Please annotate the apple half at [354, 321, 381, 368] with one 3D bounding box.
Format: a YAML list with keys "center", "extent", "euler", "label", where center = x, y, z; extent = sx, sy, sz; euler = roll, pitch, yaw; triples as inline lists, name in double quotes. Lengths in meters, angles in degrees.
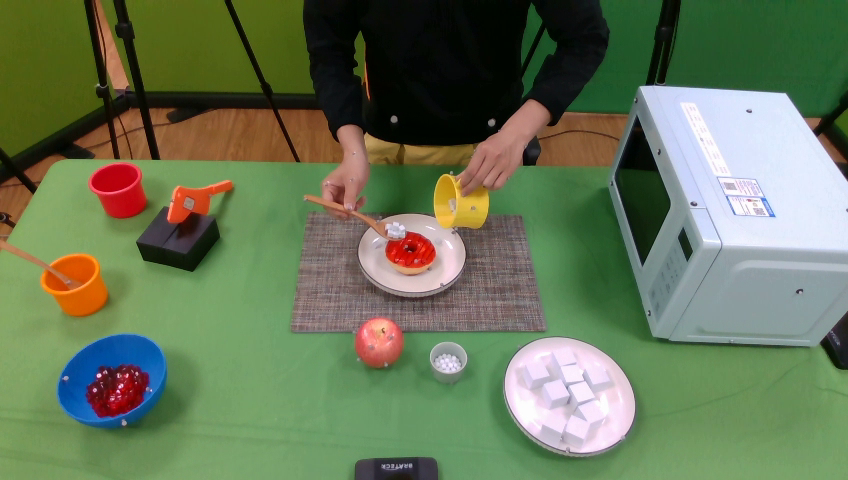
- center: [-0.097, 0.176, 0.985]
  extent: [0.033, 0.081, 0.080]
  euler: [-12, 48, -20]
  label: "apple half"

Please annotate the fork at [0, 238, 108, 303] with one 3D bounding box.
- center: [-0.633, 0.048, 1.017]
  extent: [0.208, 0.018, 0.028]
  euler: [40, 41, -27]
  label: "fork"

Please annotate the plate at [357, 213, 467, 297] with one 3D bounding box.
- center: [-0.023, 0.032, 1.150]
  extent: [0.209, 0.038, 0.208]
  euler: [2, 46, -2]
  label: "plate"

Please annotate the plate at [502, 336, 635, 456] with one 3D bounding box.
- center: [0.225, 0.248, 0.963]
  extent: [0.208, 0.039, 0.206]
  euler: [2, 46, -2]
  label: "plate"

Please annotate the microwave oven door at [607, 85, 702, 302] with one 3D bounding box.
- center: [0.423, -0.094, 1.140]
  extent: [0.039, 0.245, 0.353]
  euler: [2, 46, -1]
  label: "microwave oven door"

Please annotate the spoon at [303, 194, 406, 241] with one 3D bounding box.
- center: [-0.120, -0.043, 1.066]
  extent: [0.194, 0.021, 0.041]
  euler: [25, 47, -19]
  label: "spoon"

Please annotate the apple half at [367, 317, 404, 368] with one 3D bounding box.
- center: [-0.061, 0.167, 0.998]
  extent: [0.053, 0.075, 0.080]
  euler: [-11, 44, -20]
  label: "apple half"

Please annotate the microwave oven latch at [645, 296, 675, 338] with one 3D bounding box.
- center: [0.412, 0.134, 1.061]
  extent: [0.030, 0.029, 0.078]
  euler: [3, 45, 0]
  label: "microwave oven latch"

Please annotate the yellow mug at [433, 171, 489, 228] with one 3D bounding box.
- center: [0.071, -0.080, 1.092]
  extent: [0.064, 0.131, 0.099]
  euler: [-1, 55, -24]
  label: "yellow mug"

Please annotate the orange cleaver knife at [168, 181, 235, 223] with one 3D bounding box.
- center: [-0.436, -0.078, 1.196]
  extent: [0.012, 0.077, 0.211]
  euler: [16, 15, 10]
  label: "orange cleaver knife"

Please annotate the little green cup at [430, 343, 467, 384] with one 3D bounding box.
- center: [0.039, 0.203, 0.994]
  extent: [0.061, 0.039, 0.061]
  euler: [2, 46, -2]
  label: "little green cup"

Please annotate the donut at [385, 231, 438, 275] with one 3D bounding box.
- center: [-0.024, 0.023, 1.141]
  extent: [0.099, 0.048, 0.098]
  euler: [3, 45, -3]
  label: "donut"

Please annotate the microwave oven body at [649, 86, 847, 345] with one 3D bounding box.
- center: [0.568, -0.053, 1.118]
  extent: [0.326, 0.261, 0.439]
  euler: [2, 45, -1]
  label: "microwave oven body"

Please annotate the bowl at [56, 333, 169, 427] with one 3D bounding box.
- center: [-0.456, 0.223, 0.911]
  extent: [0.151, 0.077, 0.150]
  euler: [3, 46, -2]
  label: "bowl"
